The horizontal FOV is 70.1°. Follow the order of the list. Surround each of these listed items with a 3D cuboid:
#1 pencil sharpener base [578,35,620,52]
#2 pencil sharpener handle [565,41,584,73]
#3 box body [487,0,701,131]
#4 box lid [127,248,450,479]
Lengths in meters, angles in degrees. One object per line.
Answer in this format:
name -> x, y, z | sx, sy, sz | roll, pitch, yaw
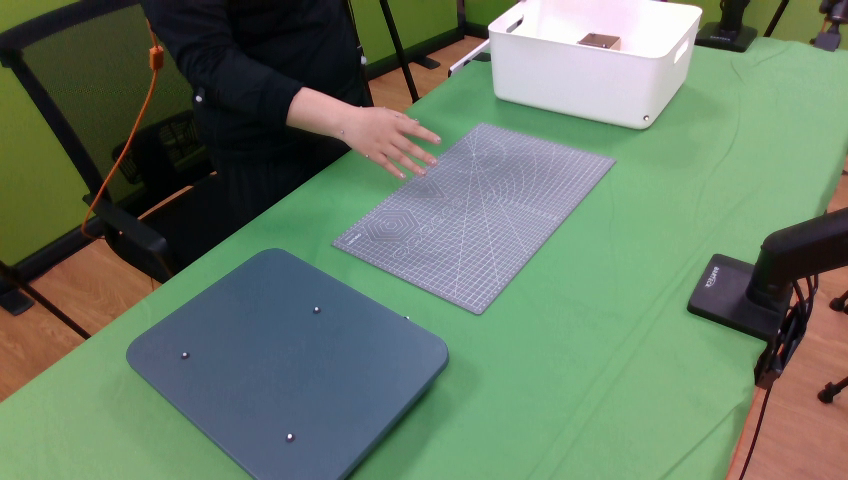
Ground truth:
pencil sharpener base -> 0.362, -0.367, 1.273 | 0.076, 0.107, 0.061 | 20, 48, 30
pencil sharpener handle -> 0.318, -0.391, 1.288 | 0.030, 0.068, 0.036 | 20, 39, 30
box body -> 0.345, -0.379, 1.257 | 0.361, 0.161, 0.255 | 20, 48, 29
box lid -> -0.177, 0.145, 0.768 | 0.368, 0.015, 0.264 | 24, 50, 32
